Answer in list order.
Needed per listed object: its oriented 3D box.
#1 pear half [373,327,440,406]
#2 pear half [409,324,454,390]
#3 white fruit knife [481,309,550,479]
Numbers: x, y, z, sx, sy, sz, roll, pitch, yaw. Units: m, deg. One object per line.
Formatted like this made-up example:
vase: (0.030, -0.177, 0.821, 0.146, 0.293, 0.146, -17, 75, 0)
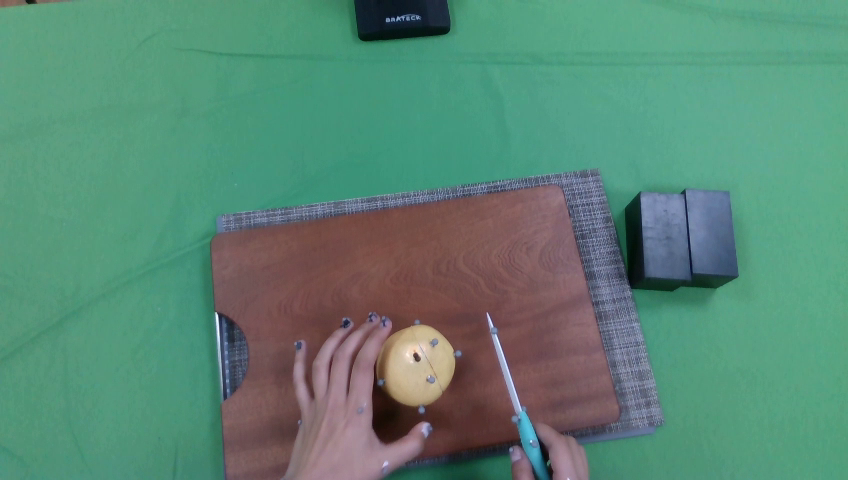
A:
pear half: (-0.020, 0.123, 0.576, 0.056, 0.110, 0.076, -30, 71, -11)
pear half: (0.011, 0.109, 0.592, 0.031, 0.088, 0.070, -31, 70, -11)
white fruit knife: (0.084, 0.158, 0.547, 0.016, 0.027, 0.208, -21, 99, -12)
